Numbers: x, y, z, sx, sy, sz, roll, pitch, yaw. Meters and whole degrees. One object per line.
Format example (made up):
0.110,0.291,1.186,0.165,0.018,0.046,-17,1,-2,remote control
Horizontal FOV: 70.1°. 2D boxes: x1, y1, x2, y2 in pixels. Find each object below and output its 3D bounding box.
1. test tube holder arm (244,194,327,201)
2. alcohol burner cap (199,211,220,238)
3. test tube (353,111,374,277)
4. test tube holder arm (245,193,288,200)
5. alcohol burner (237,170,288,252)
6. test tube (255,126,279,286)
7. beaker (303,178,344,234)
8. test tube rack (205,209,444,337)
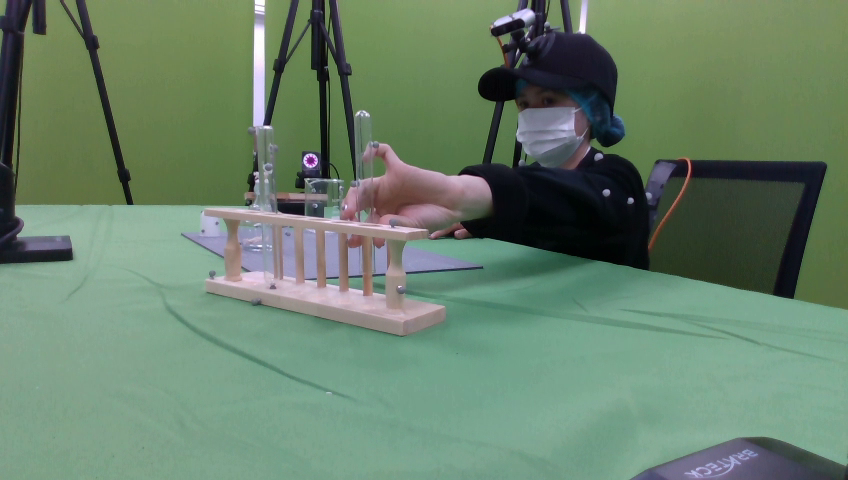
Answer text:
-0.284,-0.090,1.257,0.179,0.015,0.013,-2,-1,-37,test tube holder arm
-0.356,-0.027,1.002,0.034,0.048,0.034,3,7,0,alcohol burner cap
-0.055,-0.041,0.550,0.017,0.150,0.017,-1,7,0,test tube
-0.317,-0.088,1.226,0.088,0.015,0.010,-2,-1,-37,test tube holder arm
-0.236,-0.042,0.881,0.078,0.119,0.078,2,9,0,alcohol burner
-0.147,-0.031,0.567,0.017,0.150,0.017,-1,8,0,test tube
-0.189,-0.063,1.119,0.073,0.100,0.084,6,9,28,beaker
-0.100,0.021,0.565,0.241,0.085,0.067,7,8,32,test tube rack
